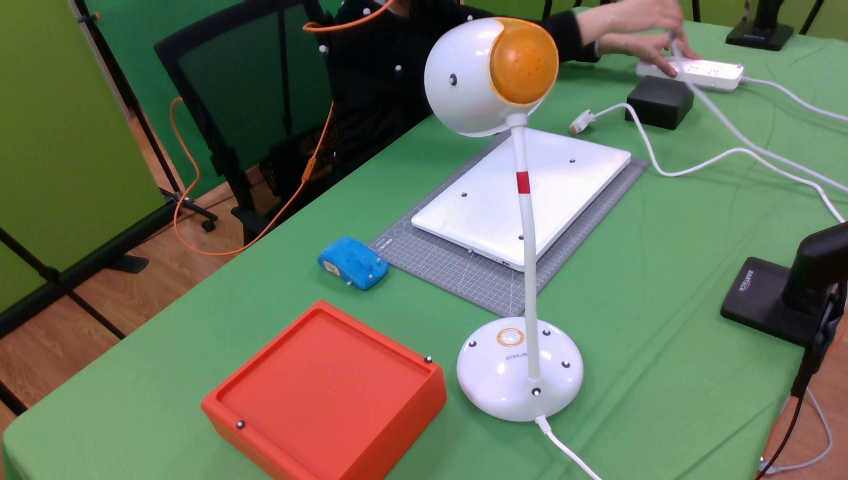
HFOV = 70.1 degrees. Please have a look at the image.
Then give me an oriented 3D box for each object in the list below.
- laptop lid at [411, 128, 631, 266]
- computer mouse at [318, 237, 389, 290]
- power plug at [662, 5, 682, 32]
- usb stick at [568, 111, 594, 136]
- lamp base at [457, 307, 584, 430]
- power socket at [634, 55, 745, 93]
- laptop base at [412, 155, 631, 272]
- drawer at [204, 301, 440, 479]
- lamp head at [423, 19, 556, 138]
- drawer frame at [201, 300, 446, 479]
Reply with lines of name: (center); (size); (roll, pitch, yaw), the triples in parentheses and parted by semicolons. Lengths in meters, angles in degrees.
laptop lid: (0.172, -0.093, 1.049); (0.239, 0.013, 0.358); (23, 49, 36)
computer mouse: (-0.113, 0.033, 0.959); (0.116, 0.041, 0.063); (28, 51, 31)
power plug: (0.457, -0.414, 1.111); (0.035, 0.073, 0.052); (10, 88, 16)
usb stick: (0.307, -0.228, 1.190); (0.059, 0.021, 0.027); (-45, 14, -20)
lamp base: (0.115, 0.108, 0.713); (0.161, 0.181, 0.178); (-16, 43, -8)
power socket: (0.563, -0.358, 1.295); (0.225, 0.033, 0.072); (20, 49, 31)
laptop base: (0.176, -0.084, 1.055); (0.233, 0.023, 0.355); (21, 48, 36)
drawer: (-0.119, 0.194, 0.735); (0.210, 0.073, 0.195); (23, 49, 32)
lamp head: (0.068, -0.151, 0.563); (0.113, 0.113, 0.122); (-21, 18, -13)
drawer frame: (-0.117, 0.193, 0.733); (0.212, 0.083, 0.202); (23, 48, 31)
